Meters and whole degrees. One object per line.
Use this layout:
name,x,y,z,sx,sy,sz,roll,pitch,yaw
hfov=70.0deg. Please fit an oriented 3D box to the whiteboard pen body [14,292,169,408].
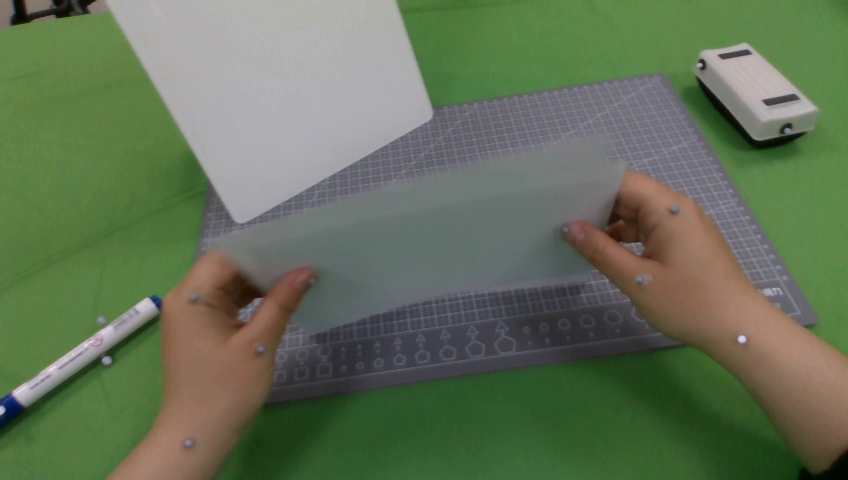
whiteboard pen body,-0.250,0.084,0.441,0.017,0.017,0.140,34,60,30

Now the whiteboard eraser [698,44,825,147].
whiteboard eraser,0.298,-0.130,0.543,0.055,0.042,0.111,-14,50,-2

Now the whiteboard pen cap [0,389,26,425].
whiteboard pen cap,-0.291,0.117,0.415,0.018,0.018,0.033,34,60,30

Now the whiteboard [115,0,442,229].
whiteboard,-0.148,-0.207,0.530,0.217,0.308,0.142,-32,33,-18
